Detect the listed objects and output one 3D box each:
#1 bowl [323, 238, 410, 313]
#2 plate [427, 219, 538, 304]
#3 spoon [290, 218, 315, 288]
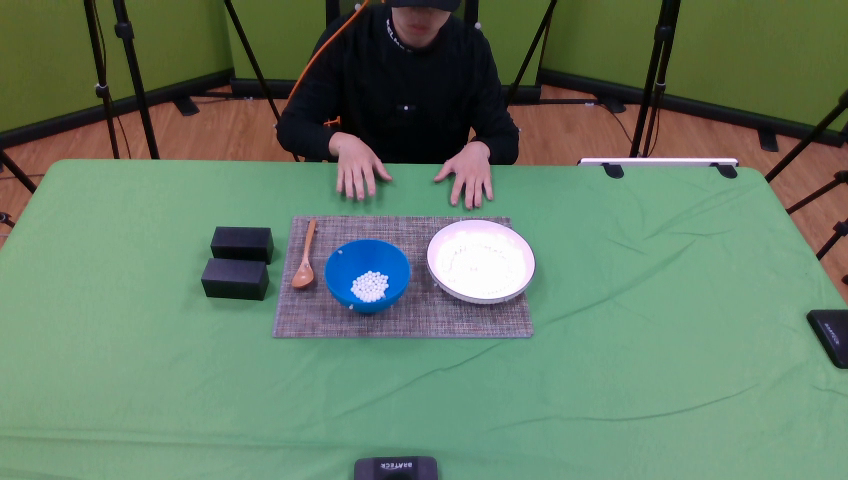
[{"bbox_3d":[-0.101,0.077,1.073,0.151,0.077,0.150,2,46,-2],"label":"bowl"},{"bbox_3d":[0.109,0.044,1.149,0.208,0.039,0.206,2,46,-2],"label":"plate"},{"bbox_3d":[-0.224,0.021,1.156,0.041,0.022,0.192,-11,46,10],"label":"spoon"}]
